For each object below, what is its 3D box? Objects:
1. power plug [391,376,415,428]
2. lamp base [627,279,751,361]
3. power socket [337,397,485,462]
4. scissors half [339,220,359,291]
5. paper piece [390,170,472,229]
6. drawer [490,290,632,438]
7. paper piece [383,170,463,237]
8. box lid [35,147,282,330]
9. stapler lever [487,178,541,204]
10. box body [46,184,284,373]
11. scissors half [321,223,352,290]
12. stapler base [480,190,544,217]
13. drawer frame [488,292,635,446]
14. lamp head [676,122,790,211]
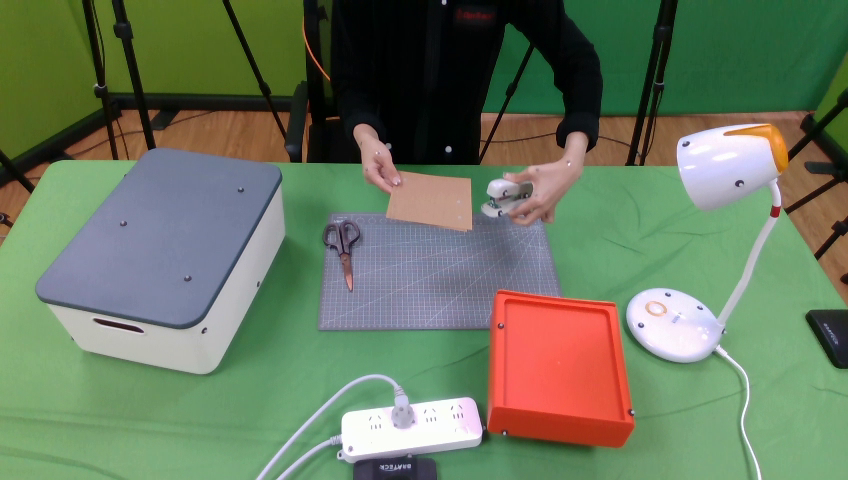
[{"bbox_3d":[-0.030,0.249,0.917,0.035,0.053,0.072,3,46,0],"label":"power plug"},{"bbox_3d":[0.460,0.100,1.027,0.178,0.181,0.160,27,51,17],"label":"lamp base"},{"bbox_3d":[-0.018,0.285,0.915,0.227,0.033,0.071,-4,46,-8],"label":"power socket"},{"bbox_3d":[-0.144,0.026,1.162,0.040,0.013,0.174,-7,50,1],"label":"scissors half"},{"bbox_3d":[0.014,-0.071,1.027,0.136,0.009,0.137,10,41,-6],"label":"paper piece"},{"bbox_3d":[0.203,0.185,0.934,0.194,0.073,0.210,7,47,1],"label":"drawer"},{"bbox_3d":[0.005,-0.064,1.028,0.135,0.004,0.135,13,44,-1],"label":"paper piece"},{"bbox_3d":[-0.411,-0.023,0.987,0.263,0.015,0.369,10,47,5],"label":"box lid"},{"bbox_3d":[0.163,-0.096,1.089,0.118,0.040,0.026,-20,43,-31],"label":"stapler lever"},{"bbox_3d":[-0.414,0.029,1.039,0.254,0.161,0.362,10,46,5],"label":"box body"},{"bbox_3d":[-0.163,0.030,1.159,0.040,0.013,0.174,-17,51,-14],"label":"scissors half"},{"bbox_3d":[0.161,-0.075,1.102,0.131,0.024,0.041,-20,42,-31],"label":"stapler base"},{"bbox_3d":[0.204,0.191,0.931,0.202,0.083,0.212,7,45,2],"label":"drawer frame"},{"bbox_3d":[0.423,-0.104,0.819,0.122,0.113,0.112,-13,33,40],"label":"lamp head"}]
